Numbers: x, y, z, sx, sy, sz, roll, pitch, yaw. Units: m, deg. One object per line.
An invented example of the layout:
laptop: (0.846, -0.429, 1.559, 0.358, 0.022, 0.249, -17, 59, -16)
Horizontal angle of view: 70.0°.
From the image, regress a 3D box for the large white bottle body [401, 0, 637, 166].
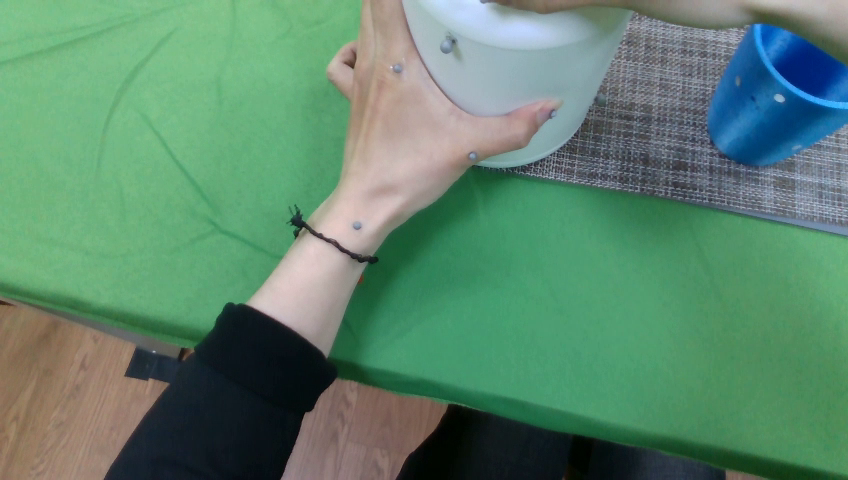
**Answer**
large white bottle body: (0.050, -0.137, 0.349, 0.130, 0.185, 0.130, 0, 72, 0)

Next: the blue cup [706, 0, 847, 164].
blue cup: (0.226, -0.095, 0.379, 0.092, 0.101, 0.092, -1, 72, 2)
